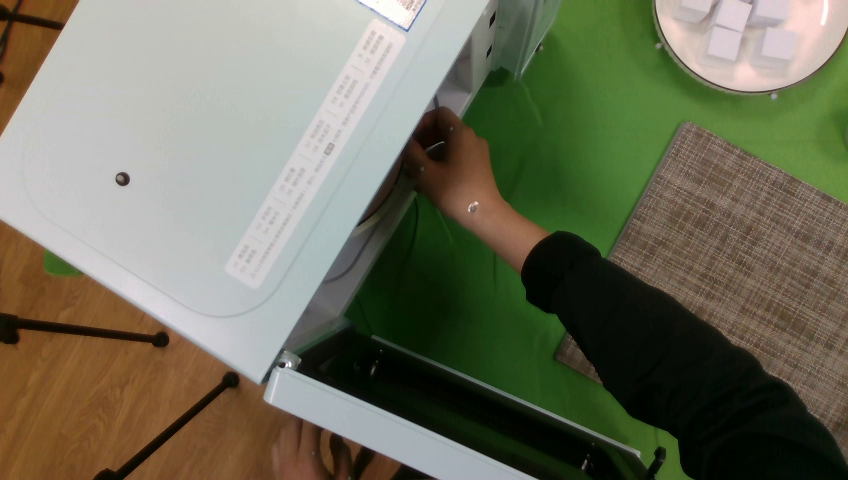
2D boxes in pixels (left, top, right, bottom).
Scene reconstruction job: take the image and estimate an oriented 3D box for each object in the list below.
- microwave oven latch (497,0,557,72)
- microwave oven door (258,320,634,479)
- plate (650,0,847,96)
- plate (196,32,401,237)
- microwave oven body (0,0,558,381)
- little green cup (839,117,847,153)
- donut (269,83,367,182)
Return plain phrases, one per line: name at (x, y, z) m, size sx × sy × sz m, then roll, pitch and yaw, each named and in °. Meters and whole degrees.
microwave oven latch at (0.110, -0.223, 0.649) m, size 0.030 × 0.029 × 0.079 m, roll 34°, pitch 92°, yaw 3°
microwave oven door at (0.051, 0.172, 0.550) m, size 0.355 × 0.244 × 0.039 m, roll 23°, pitch 90°, yaw 3°
plate at (0.347, -0.257, 0.654) m, size 0.207 × 0.039 × 0.207 m, roll 0°, pitch 90°, yaw 3°
plate at (-0.126, -0.105, 0.622) m, size 0.209 × 0.038 × 0.209 m, roll 0°, pitch 87°, yaw 3°
microwave oven body at (-0.115, -0.151, 0.566) m, size 0.326 × 0.260 × 0.441 m, roll 32°, pitch 92°, yaw 3°
little green cup at (0.480, -0.115, 0.646) m, size 0.061 × 0.038 × 0.061 m, roll 0°, pitch 89°, yaw 4°
donut at (-0.106, -0.108, 0.608) m, size 0.099 × 0.048 × 0.099 m, roll 0°, pitch 95°, yaw 7°
